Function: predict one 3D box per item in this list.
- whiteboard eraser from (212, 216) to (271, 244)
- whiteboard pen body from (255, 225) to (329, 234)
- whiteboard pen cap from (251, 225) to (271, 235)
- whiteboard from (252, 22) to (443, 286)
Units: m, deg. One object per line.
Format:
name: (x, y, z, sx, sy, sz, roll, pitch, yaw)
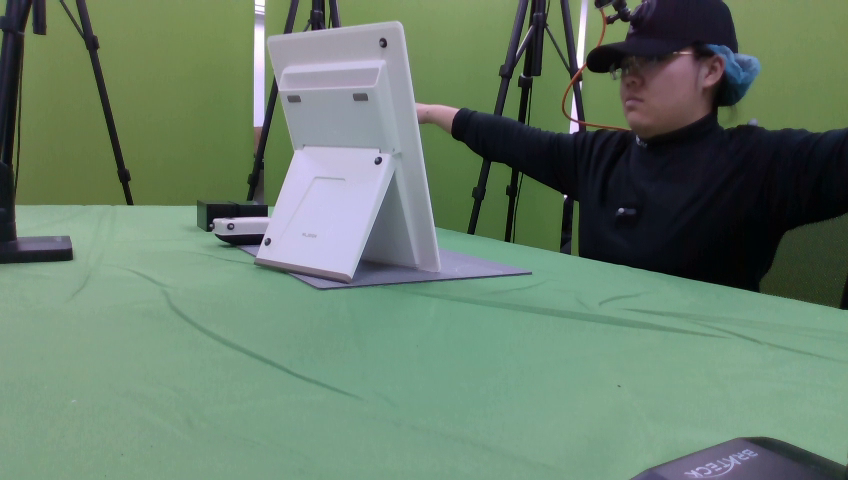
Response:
whiteboard eraser: (-0.266, -0.016, 0.942, 0.113, 0.042, 0.055, -2, 10, -35)
whiteboard pen body: (-0.239, -0.019, 1.105, 0.141, 0.017, 0.017, -2, 9, -34)
whiteboard pen cap: (-0.288, -0.019, 1.071, 0.033, 0.018, 0.018, -3, 10, -34)
whiteboard: (-0.125, -0.080, 0.715, 0.216, 0.305, 0.144, 8, 29, 36)
